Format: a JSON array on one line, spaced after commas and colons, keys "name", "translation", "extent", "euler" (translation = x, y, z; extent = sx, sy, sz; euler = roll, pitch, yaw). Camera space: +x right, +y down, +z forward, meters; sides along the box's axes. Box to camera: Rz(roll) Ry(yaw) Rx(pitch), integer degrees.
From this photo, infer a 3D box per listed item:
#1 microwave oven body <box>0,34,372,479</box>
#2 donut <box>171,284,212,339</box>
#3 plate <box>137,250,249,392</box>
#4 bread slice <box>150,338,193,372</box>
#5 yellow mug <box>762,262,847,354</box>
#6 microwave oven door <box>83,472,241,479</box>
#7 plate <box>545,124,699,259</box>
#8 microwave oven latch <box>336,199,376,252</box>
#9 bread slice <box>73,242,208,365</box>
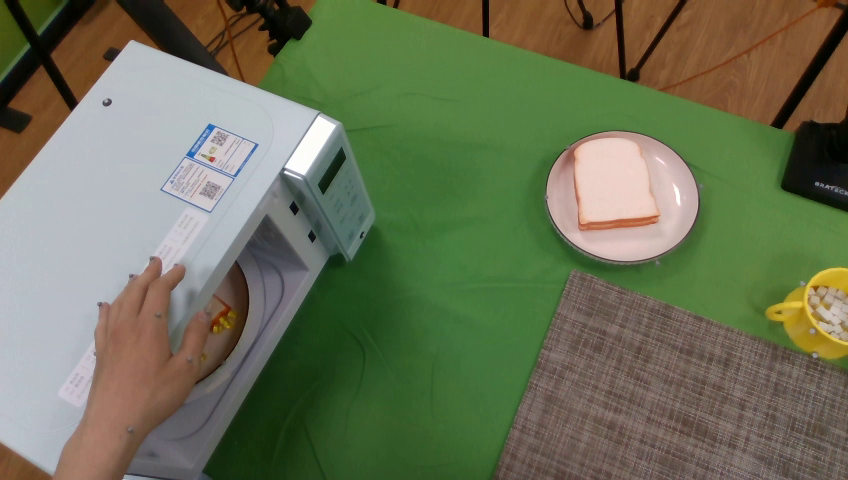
[{"name": "microwave oven body", "translation": [-0.317, 0.030, 0.743], "extent": [0.324, 0.262, 0.440], "euler": [23, 72, 14]}, {"name": "donut", "translation": [-0.312, 0.076, 0.748], "extent": [0.099, 0.048, 0.098], "euler": [3, 61, -6]}, {"name": "plate", "translation": [-0.322, 0.088, 0.771], "extent": [0.209, 0.038, 0.207], "euler": [-1, 70, 3]}, {"name": "bread slice", "translation": [-0.325, 0.111, 0.787], "extent": [0.104, 0.019, 0.131], "euler": [36, 50, 18]}, {"name": "yellow mug", "translation": [0.494, 0.085, 0.754], "extent": [0.130, 0.064, 0.099], "euler": [1, 67, 7]}, {"name": "microwave oven door", "translation": [-0.116, 0.271, 0.617], "extent": [0.355, 0.246, 0.039], "euler": [4, 67, 7]}, {"name": "plate", "translation": [0.274, -0.066, 0.855], "extent": [0.207, 0.039, 0.206], "euler": [-2, 67, 5]}, {"name": "microwave oven latch", "translation": [-0.098, -0.025, 0.851], "extent": [0.030, 0.030, 0.079], "euler": [27, 73, 15]}, {"name": "bread slice", "translation": [-0.328, 0.066, 0.722], "extent": [0.106, 0.018, 0.134], "euler": [33, 65, 9]}]
